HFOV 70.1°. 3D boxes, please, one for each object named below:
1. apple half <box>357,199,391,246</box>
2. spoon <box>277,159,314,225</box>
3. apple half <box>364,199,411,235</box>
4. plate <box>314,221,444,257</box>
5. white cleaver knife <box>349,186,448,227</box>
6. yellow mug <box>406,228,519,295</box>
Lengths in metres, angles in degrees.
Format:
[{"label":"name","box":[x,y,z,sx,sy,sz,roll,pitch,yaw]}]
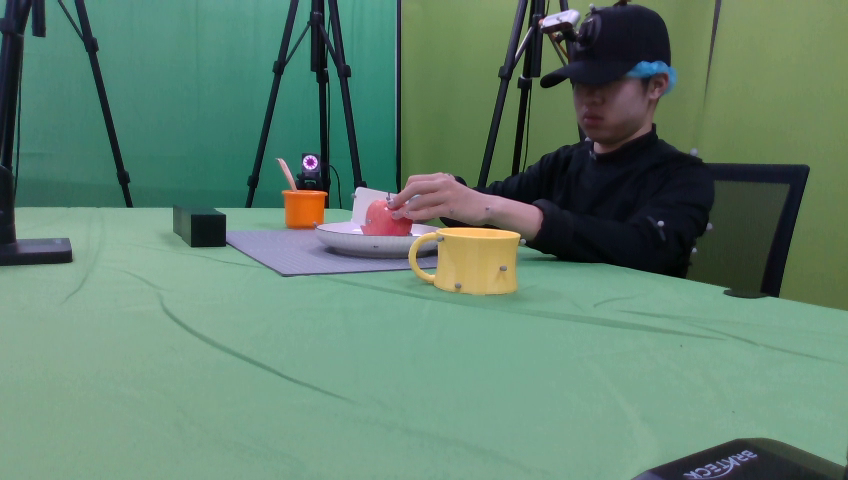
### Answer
[{"label":"apple half","box":[-0.084,-0.029,0.948,0.032,0.081,0.081,6,8,29]},{"label":"spoon","box":[-0.272,-0.103,1.260,0.042,0.193,0.021,-4,-34,-33]},{"label":"apple half","box":[-0.049,-0.024,0.927,0.053,0.074,0.081,13,6,29]},{"label":"plate","box":[-0.066,-0.002,0.948,0.209,0.038,0.209,3,7,0]},{"label":"white cleaver knife","box":[-0.038,-0.048,1.001,0.021,0.066,0.288,7,4,31]},{"label":"yellow mug","box":[0.044,0.022,0.707,0.131,0.064,0.100,2,7,5]}]
